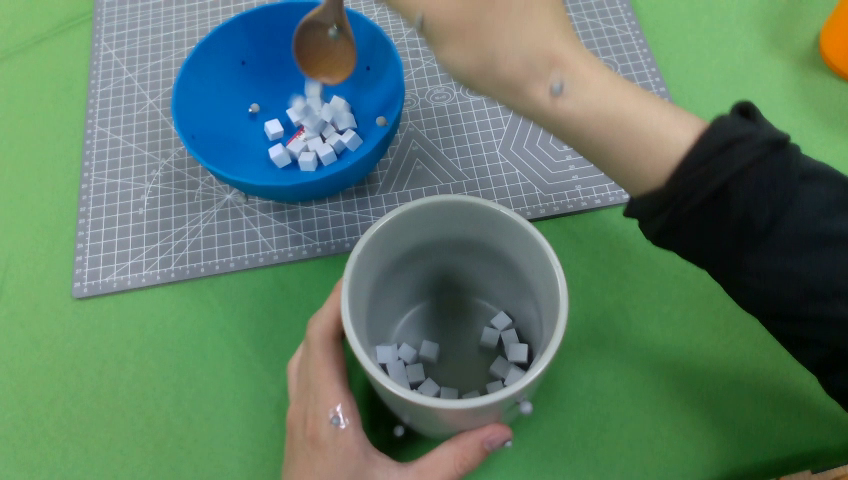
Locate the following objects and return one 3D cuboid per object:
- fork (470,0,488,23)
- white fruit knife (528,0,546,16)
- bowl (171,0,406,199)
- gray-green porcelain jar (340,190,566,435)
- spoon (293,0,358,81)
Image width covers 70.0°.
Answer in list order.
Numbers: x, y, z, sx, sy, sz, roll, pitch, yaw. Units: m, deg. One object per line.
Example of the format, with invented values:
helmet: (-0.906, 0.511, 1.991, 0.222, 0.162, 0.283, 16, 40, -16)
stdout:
fork: (0.025, -0.281, 0.506, 0.028, 0.018, 0.206, -13, 84, -7)
white fruit knife: (0.074, -0.288, 0.509, 0.016, 0.027, 0.206, -10, 79, -4)
bowl: (-0.084, -0.084, 0.421, 0.151, 0.077, 0.150, -1, 65, 2)
gray-green porcelain jar: (0.017, 0.049, 0.334, 0.106, 0.127, 0.105, -1, 65, 3)
spoon: (-0.043, -0.133, 0.313, 0.042, 0.193, 0.021, 23, 75, -10)
